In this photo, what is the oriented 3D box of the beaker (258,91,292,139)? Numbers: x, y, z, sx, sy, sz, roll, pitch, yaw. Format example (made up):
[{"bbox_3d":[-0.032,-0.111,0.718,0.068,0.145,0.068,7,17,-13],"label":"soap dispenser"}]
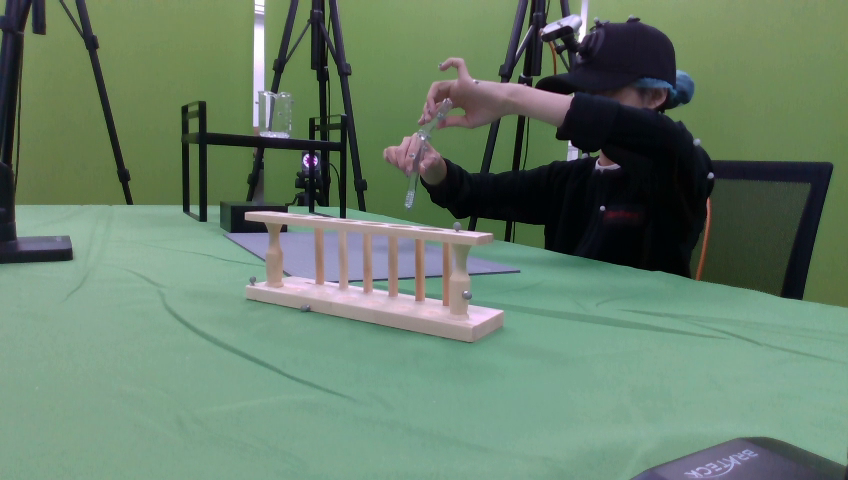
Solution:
[{"bbox_3d":[-0.331,-0.276,1.343,0.074,0.100,0.083,0,8,-20],"label":"beaker"}]

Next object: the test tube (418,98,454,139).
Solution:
[{"bbox_3d":[0.016,-0.177,0.886,0.017,0.017,0.150,1,-8,-15],"label":"test tube"}]

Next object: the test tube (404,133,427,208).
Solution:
[{"bbox_3d":[-0.015,-0.111,1.005,0.017,0.150,0.017,8,42,-7],"label":"test tube"}]

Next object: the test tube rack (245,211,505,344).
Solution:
[{"bbox_3d":[-0.049,0.025,0.547,0.241,0.085,0.067,7,8,28],"label":"test tube rack"}]
